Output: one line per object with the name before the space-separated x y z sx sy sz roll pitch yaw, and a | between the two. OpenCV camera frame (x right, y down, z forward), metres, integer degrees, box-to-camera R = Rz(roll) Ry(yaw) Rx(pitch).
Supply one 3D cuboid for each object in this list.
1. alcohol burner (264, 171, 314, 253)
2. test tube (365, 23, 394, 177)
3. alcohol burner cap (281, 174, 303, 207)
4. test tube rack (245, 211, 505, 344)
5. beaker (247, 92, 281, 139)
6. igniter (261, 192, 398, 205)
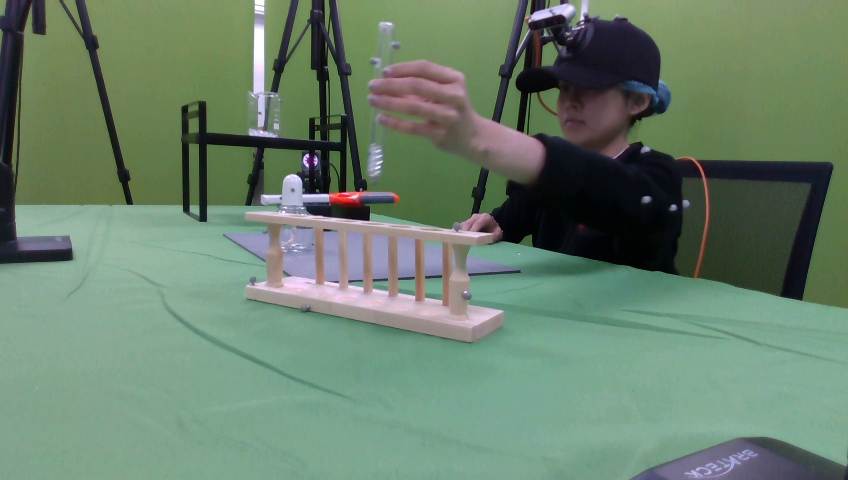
alcohol burner | -0.194 -0.042 0.888 0.078 0.119 0.078 3 5 0
test tube | -0.044 -0.137 0.596 0.017 0.150 0.017 6 7 0
alcohol burner cap | -0.193 -0.072 0.884 0.034 0.048 0.034 1 5 0
test tube rack | -0.049 0.025 0.547 0.241 0.085 0.067 7 8 29
beaker | -0.361 -0.280 1.359 0.074 0.100 0.084 4 8 8
igniter | -0.185 -0.083 1.217 0.278 0.025 0.057 -2 12 -25
